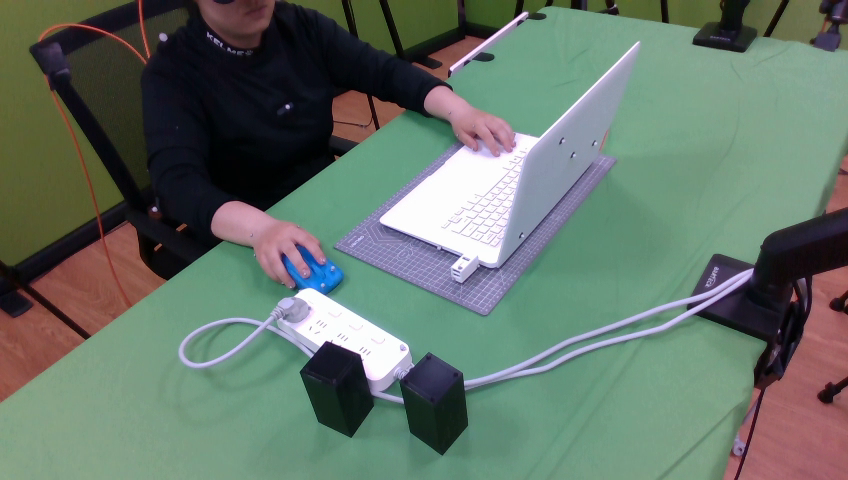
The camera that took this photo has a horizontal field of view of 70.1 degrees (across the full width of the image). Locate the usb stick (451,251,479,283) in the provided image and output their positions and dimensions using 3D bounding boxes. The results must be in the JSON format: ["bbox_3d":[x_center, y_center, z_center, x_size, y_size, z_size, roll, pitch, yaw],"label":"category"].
[{"bbox_3d":[0.066,0.036,0.899,0.021,0.027,0.059,22,45,32],"label":"usb stick"}]

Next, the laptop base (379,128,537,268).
[{"bbox_3d":[0.118,-0.088,1.058,0.233,0.023,0.355,19,47,32],"label":"laptop base"}]

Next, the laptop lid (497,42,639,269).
[{"bbox_3d":[0.221,-0.130,0.913,0.013,0.242,0.357,31,51,21],"label":"laptop lid"}]

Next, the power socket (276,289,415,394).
[{"bbox_3d":[-0.114,0.133,0.821,0.225,0.033,0.072,25,49,33],"label":"power socket"}]

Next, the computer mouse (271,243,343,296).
[{"bbox_3d":[-0.182,0.044,0.932,0.116,0.041,0.063,31,51,30],"label":"computer mouse"}]

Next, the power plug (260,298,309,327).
[{"bbox_3d":[-0.193,0.107,0.831,0.073,0.053,0.035,-31,43,-25],"label":"power plug"}]
